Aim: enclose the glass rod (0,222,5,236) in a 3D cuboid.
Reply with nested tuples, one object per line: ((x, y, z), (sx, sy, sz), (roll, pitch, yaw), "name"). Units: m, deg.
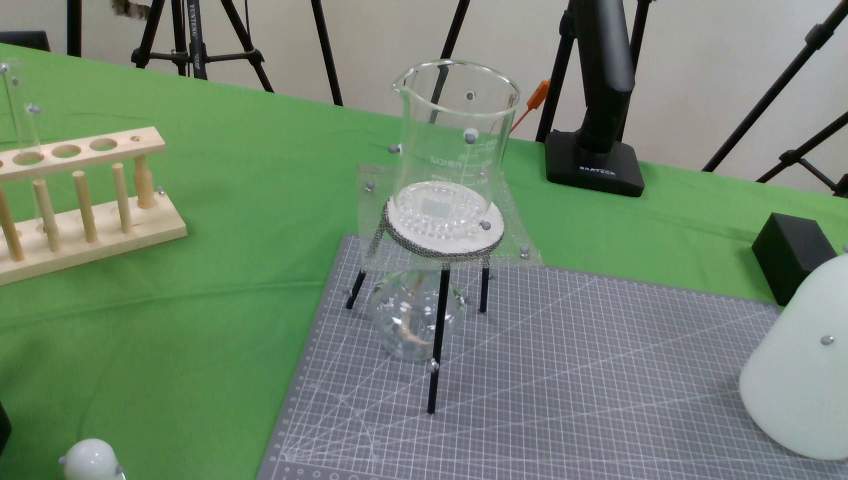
((-0.363, -0.087, 0.471), (0.008, 0.201, 0.008), (3, 34, -1), "glass rod")

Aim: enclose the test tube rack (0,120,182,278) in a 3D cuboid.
((-0.341, -0.027, 0.508), (0.243, 0.086, 0.066), (-19, 47, -31), "test tube rack")

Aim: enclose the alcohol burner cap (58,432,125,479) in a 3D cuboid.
((-0.205, 0.139, 0.370), (0.034, 0.048, 0.033), (7, 39, -5), "alcohol burner cap")

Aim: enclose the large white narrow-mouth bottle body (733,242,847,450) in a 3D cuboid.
((0.318, 0.064, 0.452), (0.102, 0.196, 0.101), (5, 39, -4), "large white narrow-mouth bottle body")

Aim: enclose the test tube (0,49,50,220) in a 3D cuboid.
((-0.329, -0.081, 0.498), (0.017, 0.151, 0.017), (7, 34, -5), "test tube")

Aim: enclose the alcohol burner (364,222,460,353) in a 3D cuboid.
((-0.007, 0.033, 0.482), (0.078, 0.120, 0.077), (8, 38, -6), "alcohol burner")

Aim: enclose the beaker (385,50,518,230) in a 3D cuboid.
((0.011, -0.064, 0.406), (0.084, 0.101, 0.073), (5, 41, -6), "beaker")

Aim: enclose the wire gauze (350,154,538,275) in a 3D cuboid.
((0.009, -0.023, 0.434), (0.122, 0.011, 0.123), (0, 44, -11), "wire gauze")

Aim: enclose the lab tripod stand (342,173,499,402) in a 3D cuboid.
((0.003, 0.029, 0.473), (0.149, 0.132, 0.147), (8, 40, -6), "lab tripod stand")
